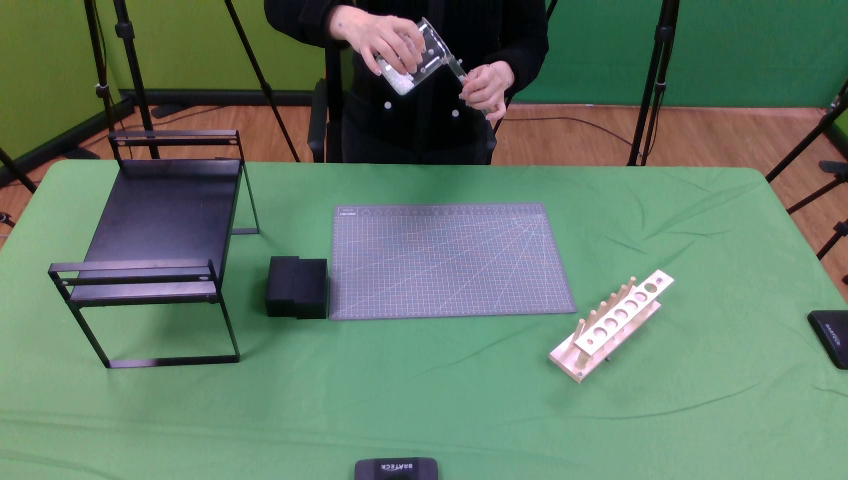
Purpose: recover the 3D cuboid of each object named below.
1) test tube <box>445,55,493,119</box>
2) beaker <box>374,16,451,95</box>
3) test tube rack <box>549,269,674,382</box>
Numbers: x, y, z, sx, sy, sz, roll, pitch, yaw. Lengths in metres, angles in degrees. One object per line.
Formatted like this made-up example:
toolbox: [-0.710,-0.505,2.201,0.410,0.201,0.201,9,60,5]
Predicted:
test tube: [0.077,-0.250,1.001,0.017,0.151,0.017,-18,53,26]
beaker: [-0.018,-0.276,0.925,0.100,0.084,0.073,-37,48,8]
test tube rack: [0.325,0.134,1.047,0.242,0.085,0.066,-32,56,-30]
